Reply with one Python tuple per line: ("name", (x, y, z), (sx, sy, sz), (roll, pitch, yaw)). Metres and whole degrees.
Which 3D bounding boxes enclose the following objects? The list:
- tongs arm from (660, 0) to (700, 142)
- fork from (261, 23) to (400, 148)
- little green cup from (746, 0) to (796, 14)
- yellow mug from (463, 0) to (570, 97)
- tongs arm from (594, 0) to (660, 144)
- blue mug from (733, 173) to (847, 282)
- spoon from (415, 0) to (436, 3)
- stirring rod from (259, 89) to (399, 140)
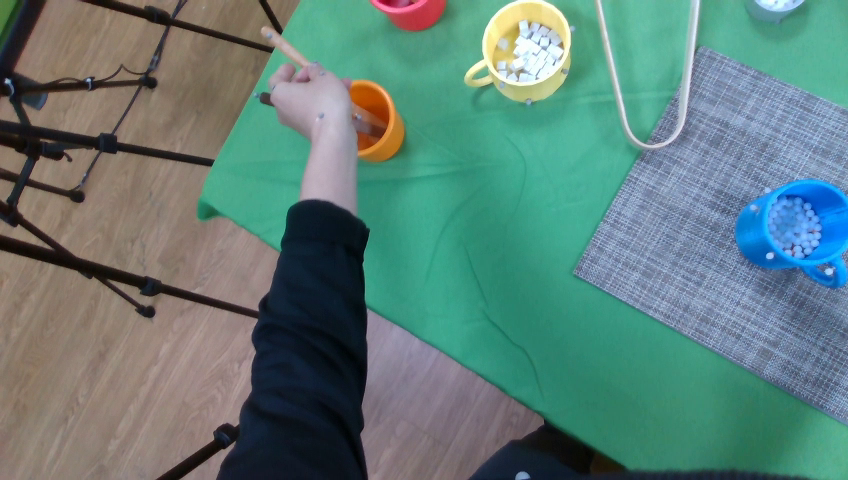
("tongs arm", (0.296, -0.303, 0.675), (0.028, 0.028, 0.388), (4, 95, 5))
("fork", (-0.108, -0.180, 0.719), (0.209, 0.018, 0.028), (39, 90, -31))
("little green cup", (0.388, -0.282, 0.670), (0.061, 0.039, 0.061), (0, 88, 13))
("yellow mug", (0.106, -0.220, 0.717), (0.131, 0.064, 0.099), (-23, 83, 12))
("tongs arm", (0.213, -0.297, 0.691), (0.050, 0.026, 0.384), (-10, 92, 9))
("blue mug", (0.384, -0.006, 0.618), (0.082, 0.106, 0.116), (-36, 80, 9))
("spoon", (-0.064, -0.322, 0.721), (0.195, 0.021, 0.041), (5, 86, -31))
("stirring rod", (-0.109, -0.149, 0.725), (0.177, 0.006, 0.014), (12, 93, -28))
